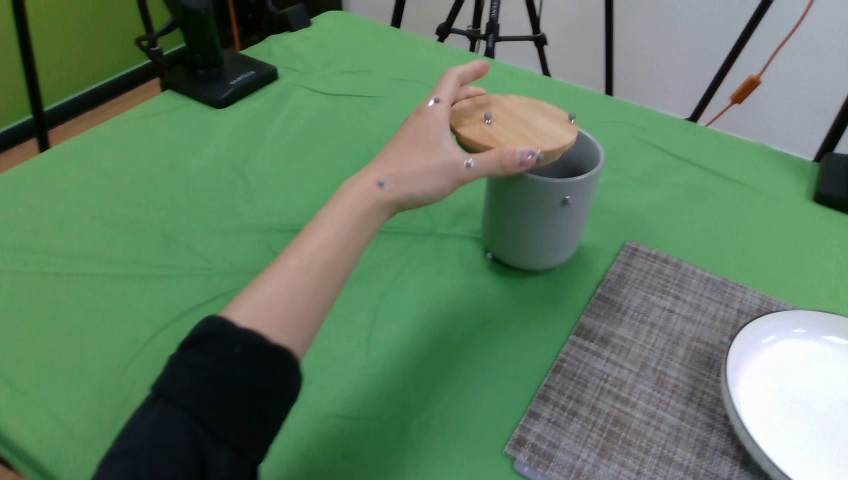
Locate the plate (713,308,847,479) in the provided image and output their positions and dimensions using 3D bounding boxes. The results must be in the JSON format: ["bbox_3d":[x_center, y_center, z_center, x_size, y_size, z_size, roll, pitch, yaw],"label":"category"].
[{"bbox_3d":[0.336,0.144,0.486,0.208,0.039,0.205,3,42,-2],"label":"plate"}]

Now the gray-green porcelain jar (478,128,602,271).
[{"bbox_3d":[0.111,-0.040,0.608,0.106,0.127,0.105,2,43,-2],"label":"gray-green porcelain jar"}]

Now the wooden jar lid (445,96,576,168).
[{"bbox_3d":[0.071,-0.091,0.505,0.108,0.021,0.107,4,36,-3],"label":"wooden jar lid"}]
